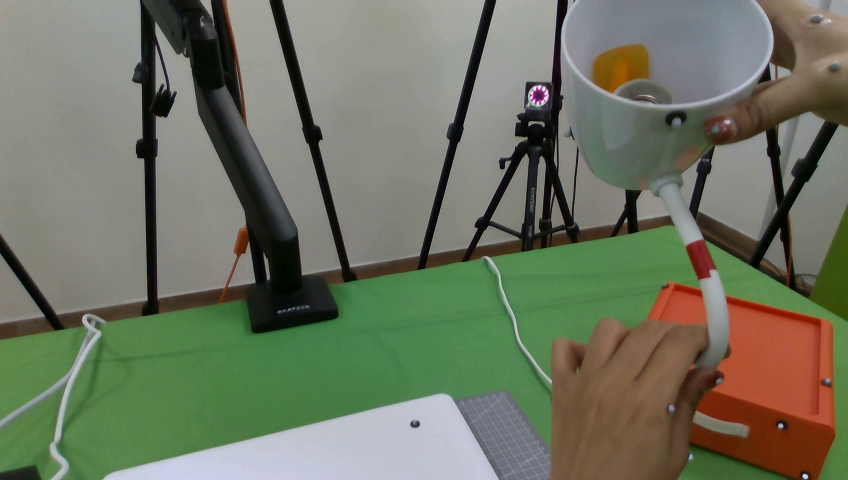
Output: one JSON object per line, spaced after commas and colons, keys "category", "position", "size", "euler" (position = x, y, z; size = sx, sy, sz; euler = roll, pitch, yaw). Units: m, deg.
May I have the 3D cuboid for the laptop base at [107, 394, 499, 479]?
{"category": "laptop base", "position": [-0.099, 0.255, 0.537], "size": [0.355, 0.023, 0.233], "euler": [-9, 31, -18]}

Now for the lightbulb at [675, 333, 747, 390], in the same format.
{"category": "lightbulb", "position": [0.340, 0.147, 0.712], "size": [0.059, 0.059, 0.107], "euler": [-3, 10, -6]}

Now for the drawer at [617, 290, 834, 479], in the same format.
{"category": "drawer", "position": [0.347, 0.148, 0.693], "size": [0.193, 0.074, 0.211], "euler": [13, 28, 28]}

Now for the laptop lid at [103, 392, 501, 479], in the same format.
{"category": "laptop lid", "position": [-0.098, 0.245, 0.529], "size": [0.358, 0.013, 0.239], "euler": [-8, 29, -16]}

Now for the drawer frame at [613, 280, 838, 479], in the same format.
{"category": "drawer frame", "position": [0.347, 0.144, 0.695], "size": [0.200, 0.083, 0.213], "euler": [14, 28, 27]}

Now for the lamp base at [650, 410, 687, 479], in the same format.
{"category": "lamp base", "position": [0.168, 0.222, 0.416], "size": [0.161, 0.181, 0.178], "euler": [1, 24, -1]}

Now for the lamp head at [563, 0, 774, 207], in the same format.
{"category": "lamp head", "position": [0.142, -0.084, 0.379], "size": [0.112, 0.124, 0.111], "euler": [-5, 54, 7]}

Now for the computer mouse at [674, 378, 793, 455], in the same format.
{"category": "computer mouse", "position": [0.328, 0.185, 0.644], "size": [0.116, 0.041, 0.062], "euler": [15, 28, 19]}
